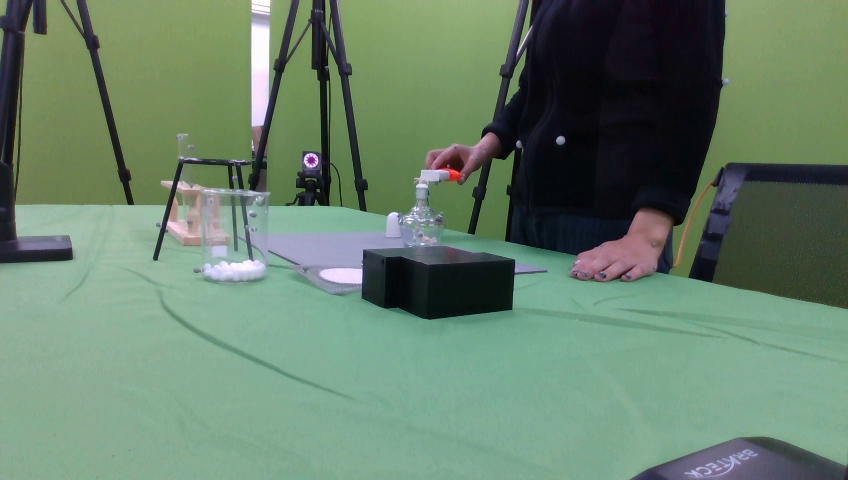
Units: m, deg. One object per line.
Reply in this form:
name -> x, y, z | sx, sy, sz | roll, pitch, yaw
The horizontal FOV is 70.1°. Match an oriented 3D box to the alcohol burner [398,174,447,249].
alcohol burner -> -0.003, -0.046, 0.973 | 0.078, 0.119, 0.078 | 0, 7, 0

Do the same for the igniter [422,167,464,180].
igniter -> 0.038, -0.123, 1.116 | 0.057, 0.025, 0.277 | 6, 7, 10

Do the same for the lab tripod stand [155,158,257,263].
lab tripod stand -> -0.275, -0.041, 0.797 | 0.148, 0.131, 0.148 | 2, 9, 0

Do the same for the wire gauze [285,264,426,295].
wire gauze -> -0.079, 0.039, 0.692 | 0.122, 0.011, 0.124 | -4, 11, -37

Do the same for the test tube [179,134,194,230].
test tube -> -0.366, -0.089, 0.938 | 0.017, 0.150, 0.017 | -1, 9, 1

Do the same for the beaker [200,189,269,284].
beaker -> -0.209, -0.006, 0.676 | 0.073, 0.100, 0.084 | 7, 8, 28

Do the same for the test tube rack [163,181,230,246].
test tube rack -> -0.387, -0.050, 1.015 | 0.067, 0.085, 0.241 | -2, 9, -30

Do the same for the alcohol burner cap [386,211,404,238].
alcohol burner cap -> -0.053, -0.029, 1.107 | 0.034, 0.048, 0.034 | 2, 9, 0
